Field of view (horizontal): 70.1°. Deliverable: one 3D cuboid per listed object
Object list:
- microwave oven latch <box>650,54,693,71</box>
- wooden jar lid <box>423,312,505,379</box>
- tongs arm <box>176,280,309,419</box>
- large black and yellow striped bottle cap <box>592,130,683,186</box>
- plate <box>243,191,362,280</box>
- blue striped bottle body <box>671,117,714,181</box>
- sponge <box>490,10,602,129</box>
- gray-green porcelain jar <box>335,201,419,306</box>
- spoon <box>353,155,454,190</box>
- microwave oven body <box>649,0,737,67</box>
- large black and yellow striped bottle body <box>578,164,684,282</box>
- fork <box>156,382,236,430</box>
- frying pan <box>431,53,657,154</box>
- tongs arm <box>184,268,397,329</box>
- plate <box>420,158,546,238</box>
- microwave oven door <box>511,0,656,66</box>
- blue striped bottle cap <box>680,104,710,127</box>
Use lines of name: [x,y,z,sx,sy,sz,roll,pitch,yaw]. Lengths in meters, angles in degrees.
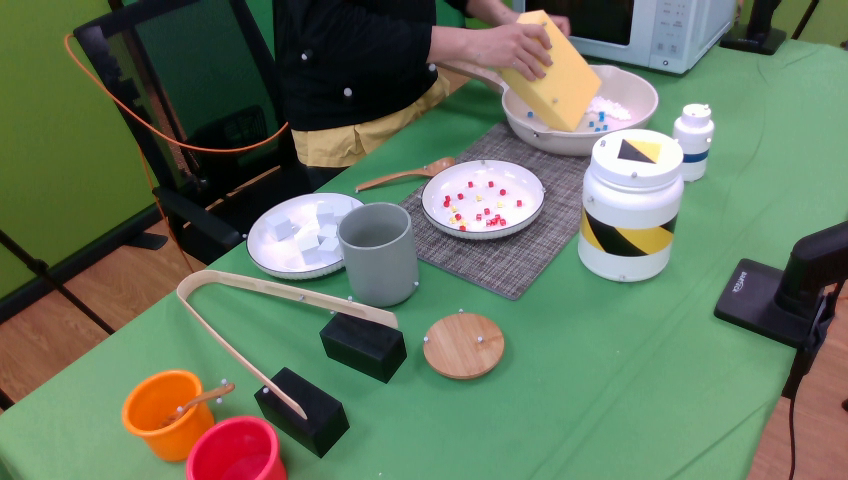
microwave oven latch: [0.531,-0.386,1.301,0.078,0.029,0.030,26,51,33]
wooden jar lid: [0.053,0.142,0.800,0.108,0.021,0.108,-5,39,4]
tongs arm: [-0.254,0.133,0.801,0.028,0.028,0.384,-41,41,-23]
large black and yellow striped bottle cap: [0.282,-0.111,0.803,0.115,0.019,0.114,-3,41,3]
plate: [-0.187,-0.005,0.992,0.207,0.039,0.206,-4,41,4]
blue striped bottle body: [0.449,-0.165,1.022,0.063,0.121,0.063,-5,41,4]
sponge: [0.233,-0.314,1.135,0.060,0.209,0.118,21,79,54]
gray-green porcelain jar: [-0.064,0.024,0.872,0.106,0.127,0.105,-4,41,4]
spoon: [-0.038,-0.123,1.116,0.194,0.022,0.041,-12,59,-4]
microwave oven body: [0.475,-0.602,1.411,0.438,0.261,0.327,23,50,32]
large black and yellow striped bottle body: [0.292,-0.046,0.859,0.131,0.185,0.130,-4,41,4]
fork: [-0.262,0.189,0.690,0.018,0.206,0.028,49,43,-7]
frying pan: [0.215,-0.301,1.223,0.484,0.103,0.308,29,49,25]
tongs arm: [-0.202,0.084,0.848,0.382,0.027,0.051,11,45,35]
plate: [0.099,-0.067,1.017,0.209,0.038,0.208,-4,40,4]
microwave oven door: [0.351,-0.540,1.349,0.353,0.245,0.039,24,50,31]
blue striped bottle cap: [0.443,-0.205,0.989,0.044,0.021,0.044,-1,41,2]
